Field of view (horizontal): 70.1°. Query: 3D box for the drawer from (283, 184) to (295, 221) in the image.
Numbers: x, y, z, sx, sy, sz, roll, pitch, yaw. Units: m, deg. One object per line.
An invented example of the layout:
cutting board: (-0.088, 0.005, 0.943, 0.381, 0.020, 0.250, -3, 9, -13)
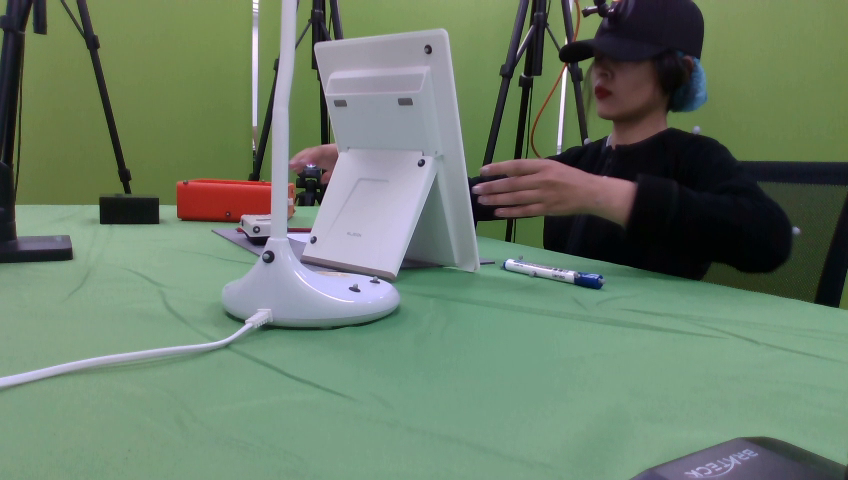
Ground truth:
drawer: (-0.394, -0.086, 1.317, 0.212, 0.073, 0.194, 1, 8, -7)

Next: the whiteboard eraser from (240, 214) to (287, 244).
whiteboard eraser: (-0.256, -0.018, 0.958, 0.056, 0.042, 0.112, 0, 8, -25)

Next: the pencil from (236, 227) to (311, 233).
pencil: (-0.239, -0.017, 1.093, 0.195, 0.012, 0.012, 1, 7, -27)

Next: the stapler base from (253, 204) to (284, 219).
stapler base: (-0.337, -0.065, 1.308, 0.041, 0.024, 0.130, 1, 9, -1)

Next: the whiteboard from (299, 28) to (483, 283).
whiteboard: (-0.075, -0.082, 0.741, 0.216, 0.305, 0.144, 9, 30, 38)

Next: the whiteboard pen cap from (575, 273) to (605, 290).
whiteboard pen cap: (0.197, 0.048, 0.719, 0.018, 0.018, 0.033, -4, 11, -41)

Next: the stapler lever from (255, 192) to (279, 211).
stapler lever: (-0.338, -0.088, 1.305, 0.027, 0.040, 0.118, 1, 11, -1)

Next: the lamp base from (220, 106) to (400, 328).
lamp base: (-0.101, -0.023, 0.531, 0.160, 0.180, 0.179, 4, 10, 10)

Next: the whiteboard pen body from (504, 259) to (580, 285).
whiteboard pen body: (0.157, 0.042, 0.764, 0.017, 0.017, 0.140, -4, 10, -41)

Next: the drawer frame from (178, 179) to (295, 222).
drawer frame: (-0.397, -0.088, 1.315, 0.214, 0.082, 0.201, 1, 8, -7)
